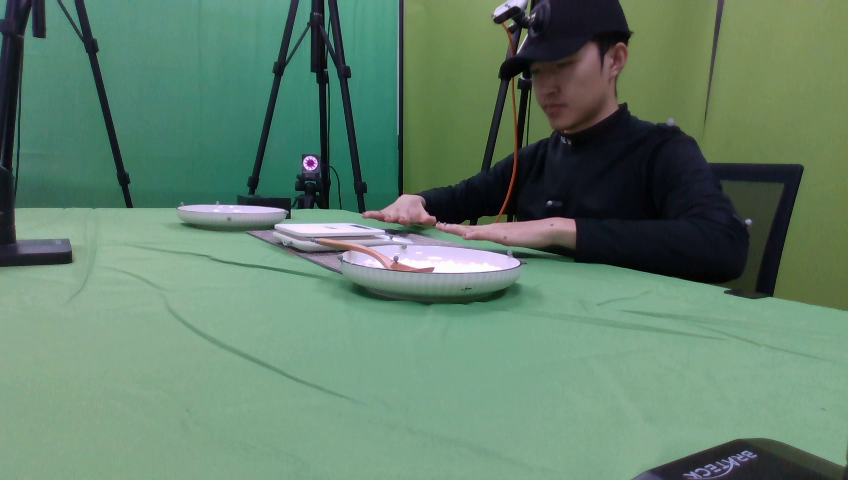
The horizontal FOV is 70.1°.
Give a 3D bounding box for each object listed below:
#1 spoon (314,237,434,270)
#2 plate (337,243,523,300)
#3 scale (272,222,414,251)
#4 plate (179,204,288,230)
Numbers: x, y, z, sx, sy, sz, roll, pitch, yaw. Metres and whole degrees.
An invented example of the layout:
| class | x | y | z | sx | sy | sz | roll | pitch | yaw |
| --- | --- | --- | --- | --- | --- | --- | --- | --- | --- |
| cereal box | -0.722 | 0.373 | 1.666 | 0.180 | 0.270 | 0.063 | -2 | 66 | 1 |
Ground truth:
| class | x | y | z | sx | sy | sz | roll | pitch | yaw |
| --- | --- | --- | --- | --- | --- | --- | --- | --- | --- |
| spoon | -0.064 | 0.015 | 0.695 | 0.192 | 0.021 | 0.042 | 18 | 17 | 42 |
| plate | 0.007 | 0.035 | 0.688 | 0.209 | 0.038 | 0.209 | 2 | 7 | 0 |
| scale | -0.131 | -0.008 | 0.984 | 0.202 | 0.031 | 0.148 | -2 | 8 | -32 |
| plate | -0.382 | -0.046 | 1.222 | 0.208 | 0.039 | 0.207 | 2 | 7 | 0 |
